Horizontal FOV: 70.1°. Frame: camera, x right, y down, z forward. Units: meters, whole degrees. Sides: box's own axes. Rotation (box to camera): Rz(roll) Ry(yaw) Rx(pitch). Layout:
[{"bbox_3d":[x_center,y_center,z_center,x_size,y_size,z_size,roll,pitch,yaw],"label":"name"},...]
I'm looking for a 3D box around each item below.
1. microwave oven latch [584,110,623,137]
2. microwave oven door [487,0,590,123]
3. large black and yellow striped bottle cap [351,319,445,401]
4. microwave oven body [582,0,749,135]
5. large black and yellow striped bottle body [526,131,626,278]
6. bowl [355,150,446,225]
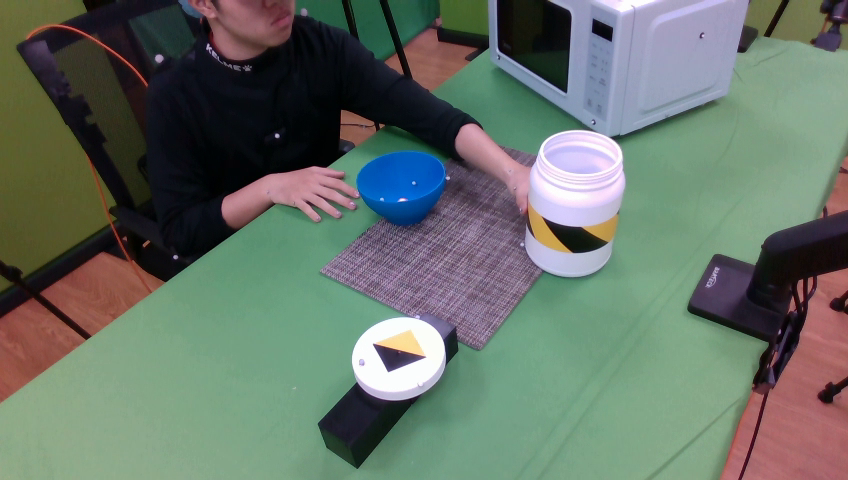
[{"bbox_3d":[0.337,-0.222,1.142,0.030,0.029,0.078,-21,42,-14],"label":"microwave oven latch"},{"bbox_3d":[0.231,-0.420,1.230,0.039,0.245,0.352,-22,43,-16],"label":"microwave oven door"},{"bbox_3d":[-0.031,0.143,0.735,0.115,0.019,0.114,-3,40,3],"label":"large black and yellow striped bottle cap"},{"bbox_3d":[0.382,-0.444,1.246,0.327,0.261,0.437,-22,42,-16],"label":"microwave oven body"},{"bbox_3d":[0.216,-0.051,0.870,0.131,0.185,0.130,-2,43,2],"label":"large black and yellow striped bottle body"},{"bbox_3d":[-0.035,-0.078,1.017,0.151,0.077,0.150,-4,40,4],"label":"bowl"}]
